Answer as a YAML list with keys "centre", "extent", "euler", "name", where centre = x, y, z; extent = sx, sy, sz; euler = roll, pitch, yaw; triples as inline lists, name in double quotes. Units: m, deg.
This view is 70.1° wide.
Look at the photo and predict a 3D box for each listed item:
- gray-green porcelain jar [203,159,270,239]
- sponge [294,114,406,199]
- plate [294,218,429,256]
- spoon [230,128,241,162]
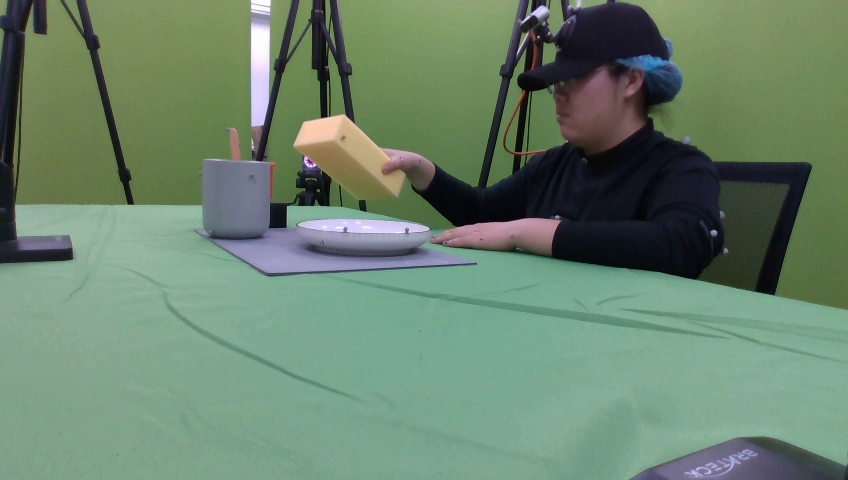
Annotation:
- centre: [-0.310, -0.068, 0.999]
  extent: [0.106, 0.126, 0.106]
  euler: [3, 8, 0]
  name: "gray-green porcelain jar"
- centre: [-0.146, -0.162, 1.220]
  extent: [0.117, 0.061, 0.208]
  euler: [1, -27, 37]
  name: "sponge"
- centre: [-0.096, -0.005, 0.936]
  extent: [0.208, 0.039, 0.207]
  euler: [3, 7, 0]
  name: "plate"
- centre: [-0.314, -0.109, 1.025]
  extent: [0.042, 0.193, 0.021]
  euler: [-5, -19, -16]
  name: "spoon"
